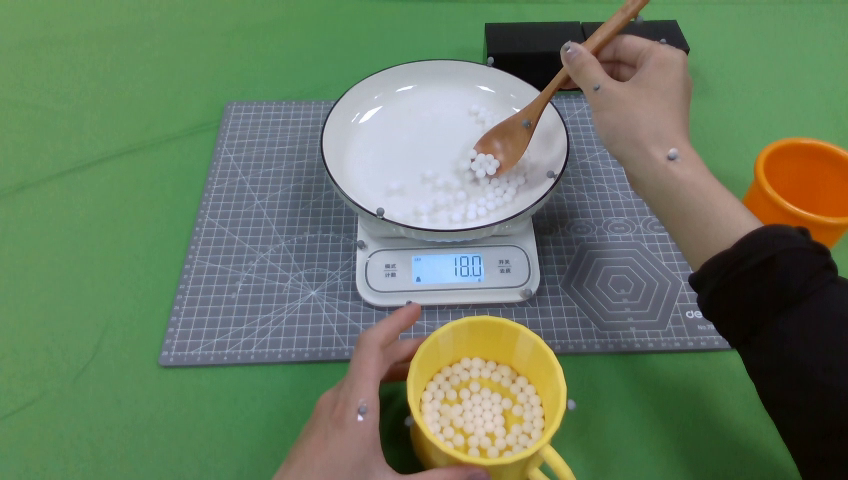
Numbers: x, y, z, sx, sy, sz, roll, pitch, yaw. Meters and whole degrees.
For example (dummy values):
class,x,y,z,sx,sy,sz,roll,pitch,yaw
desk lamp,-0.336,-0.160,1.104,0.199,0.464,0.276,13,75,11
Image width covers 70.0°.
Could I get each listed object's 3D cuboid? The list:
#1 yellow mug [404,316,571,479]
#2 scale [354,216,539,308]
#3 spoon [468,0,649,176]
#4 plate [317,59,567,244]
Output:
class,x,y,z,sx,sy,sz,roll,pitch,yaw
yellow mug,0.048,0.118,0.396,0.100,0.064,0.129,-36,62,-22
scale,0.016,-0.034,0.527,0.149,0.032,0.199,-2,53,-1
spoon,0.105,-0.122,0.468,0.022,0.194,0.041,6,45,-51
plate,0.015,-0.077,0.519,0.209,0.038,0.207,1,53,0
